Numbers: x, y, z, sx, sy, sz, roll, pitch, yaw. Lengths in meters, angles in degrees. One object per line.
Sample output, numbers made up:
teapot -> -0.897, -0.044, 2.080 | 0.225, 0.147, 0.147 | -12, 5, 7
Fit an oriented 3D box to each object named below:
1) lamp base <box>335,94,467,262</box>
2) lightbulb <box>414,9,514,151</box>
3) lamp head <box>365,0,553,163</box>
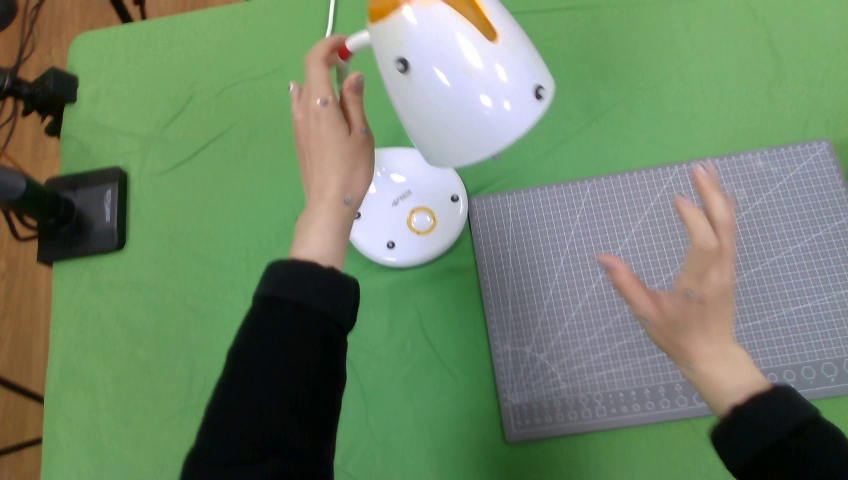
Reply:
lamp base -> -0.044, -0.080, 0.688 | 0.178, 0.181, 0.160 | 38, 79, 19
lightbulb -> 0.025, -0.112, 0.429 | 0.059, 0.109, 0.059 | -22, 34, 16
lamp head -> 0.012, -0.133, 0.420 | 0.112, 0.124, 0.111 | -30, 31, 21
